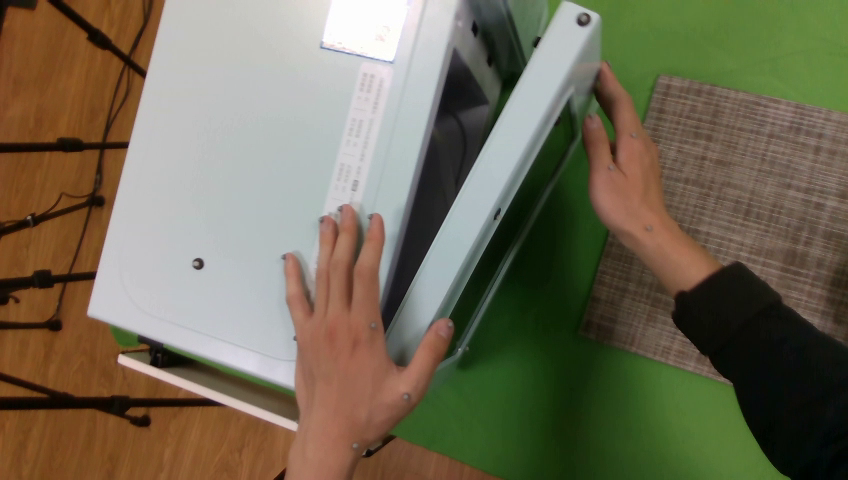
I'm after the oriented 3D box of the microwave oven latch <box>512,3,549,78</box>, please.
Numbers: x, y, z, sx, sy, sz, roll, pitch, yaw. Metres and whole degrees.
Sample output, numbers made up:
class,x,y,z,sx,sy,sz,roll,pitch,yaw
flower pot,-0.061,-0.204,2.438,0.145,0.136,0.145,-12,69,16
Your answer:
class,x,y,z,sx,sy,sz,roll,pitch,yaw
microwave oven latch,0.118,-0.224,0.676,0.030,0.029,0.079,16,92,15

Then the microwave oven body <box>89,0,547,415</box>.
class,x,y,z,sx,sy,sz,roll,pitch,yaw
microwave oven body,-0.093,-0.098,0.627,0.324,0.261,0.441,16,92,15

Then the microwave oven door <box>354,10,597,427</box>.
class,x,y,z,sx,sy,sz,roll,pitch,yaw
microwave oven door,0.063,-0.006,0.575,0.039,0.245,0.356,29,95,16
